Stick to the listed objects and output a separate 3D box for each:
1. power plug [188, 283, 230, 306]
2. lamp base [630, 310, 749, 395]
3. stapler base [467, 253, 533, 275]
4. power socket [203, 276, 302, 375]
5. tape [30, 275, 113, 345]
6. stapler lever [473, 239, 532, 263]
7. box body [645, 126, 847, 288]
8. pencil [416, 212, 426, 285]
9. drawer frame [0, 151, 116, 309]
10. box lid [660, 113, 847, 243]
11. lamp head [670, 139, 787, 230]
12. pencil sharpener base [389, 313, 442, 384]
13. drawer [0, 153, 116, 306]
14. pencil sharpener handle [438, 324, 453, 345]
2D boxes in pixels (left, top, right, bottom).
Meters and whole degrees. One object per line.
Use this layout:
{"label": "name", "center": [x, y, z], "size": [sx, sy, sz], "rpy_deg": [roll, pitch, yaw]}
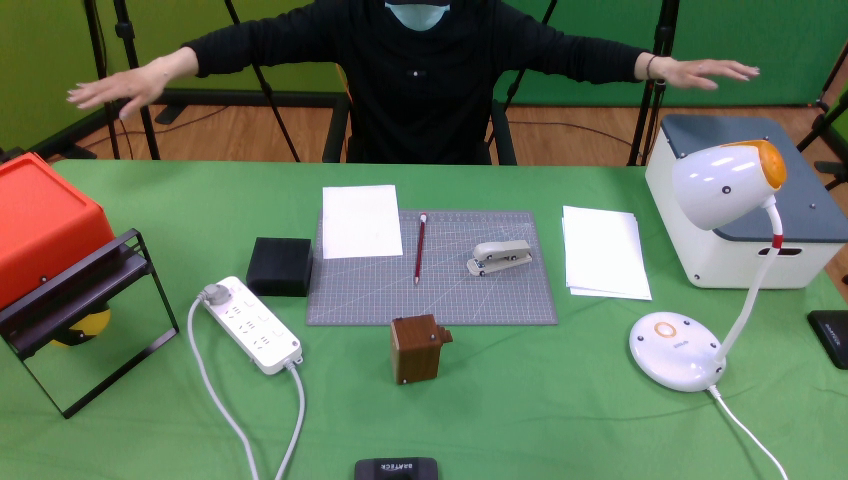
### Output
{"label": "power plug", "center": [-0.368, 0.099, 1.037], "size": [0.072, 0.053, 0.035], "rpy_deg": [-24, 52, -25]}
{"label": "lamp base", "center": [0.447, 0.142, 0.984], "size": [0.161, 0.181, 0.178], "rpy_deg": [-24, 55, -24]}
{"label": "stapler base", "center": [0.148, 0.034, 1.171], "size": [0.131, 0.024, 0.041], "rpy_deg": [-12, 50, -17]}
{"label": "power socket", "center": [-0.297, 0.141, 1.034], "size": [0.072, 0.033, 0.225], "rpy_deg": [-34, 58, -30]}
{"label": "tape", "center": [-0.593, 0.117, 1.021], "size": [0.117, 0.053, 0.116], "rpy_deg": [3, 46, -2]}
{"label": "stapler lever", "center": [0.150, 0.017, 1.155], "size": [0.118, 0.040, 0.026], "rpy_deg": [-13, 50, -17]}
{"label": "box body", "center": [0.625, -0.080, 1.222], "size": [0.254, 0.161, 0.361], "rpy_deg": [0, 46, -3]}
{"label": "pencil", "center": [-0.007, 0.014, 1.190], "size": [0.012, 0.012, 0.193], "rpy_deg": [5, 47, 0]}
{"label": "drawer frame", "center": [-0.604, -0.013, 0.875], "size": [0.201, 0.083, 0.213], "rpy_deg": [31, 52, 23]}
{"label": "box lid", "center": [0.628, -0.133, 1.170], "size": [0.263, 0.015, 0.369], "rpy_deg": [1, 46, -3]}
{"label": "lamp head", "center": [0.415, -0.079, 0.812], "size": [0.113, 0.123, 0.112], "rpy_deg": [13, 70, -37]}
{"label": "pencil sharpener base", "center": [-0.013, 0.175, 0.971], "size": [0.077, 0.107, 0.061], "rpy_deg": [-8, 47, -12]}
{"label": "drawer", "center": [-0.601, -0.015, 0.880], "size": [0.193, 0.073, 0.211], "rpy_deg": [32, 53, 23]}
{"label": "pencil sharpener handle", "center": [0.036, 0.155, 0.976], "size": [0.031, 0.068, 0.036], "rpy_deg": [-8, 69, -11]}
